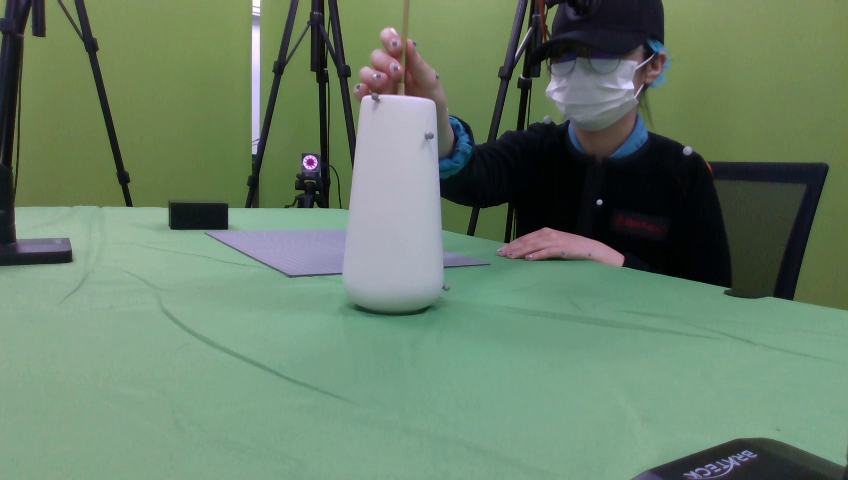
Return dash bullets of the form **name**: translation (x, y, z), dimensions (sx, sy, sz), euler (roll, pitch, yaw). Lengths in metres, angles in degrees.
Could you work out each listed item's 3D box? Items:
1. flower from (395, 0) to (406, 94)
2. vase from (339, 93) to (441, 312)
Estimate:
- **flower**: translation (-0.021, -0.186, 0.566), dimensions (0.038, 0.361, 0.044), euler (0, 6, -34)
- **vase**: translation (-0.032, -0.035, 0.577), dimensions (0.098, 0.200, 0.098), euler (0, 7, 0)
